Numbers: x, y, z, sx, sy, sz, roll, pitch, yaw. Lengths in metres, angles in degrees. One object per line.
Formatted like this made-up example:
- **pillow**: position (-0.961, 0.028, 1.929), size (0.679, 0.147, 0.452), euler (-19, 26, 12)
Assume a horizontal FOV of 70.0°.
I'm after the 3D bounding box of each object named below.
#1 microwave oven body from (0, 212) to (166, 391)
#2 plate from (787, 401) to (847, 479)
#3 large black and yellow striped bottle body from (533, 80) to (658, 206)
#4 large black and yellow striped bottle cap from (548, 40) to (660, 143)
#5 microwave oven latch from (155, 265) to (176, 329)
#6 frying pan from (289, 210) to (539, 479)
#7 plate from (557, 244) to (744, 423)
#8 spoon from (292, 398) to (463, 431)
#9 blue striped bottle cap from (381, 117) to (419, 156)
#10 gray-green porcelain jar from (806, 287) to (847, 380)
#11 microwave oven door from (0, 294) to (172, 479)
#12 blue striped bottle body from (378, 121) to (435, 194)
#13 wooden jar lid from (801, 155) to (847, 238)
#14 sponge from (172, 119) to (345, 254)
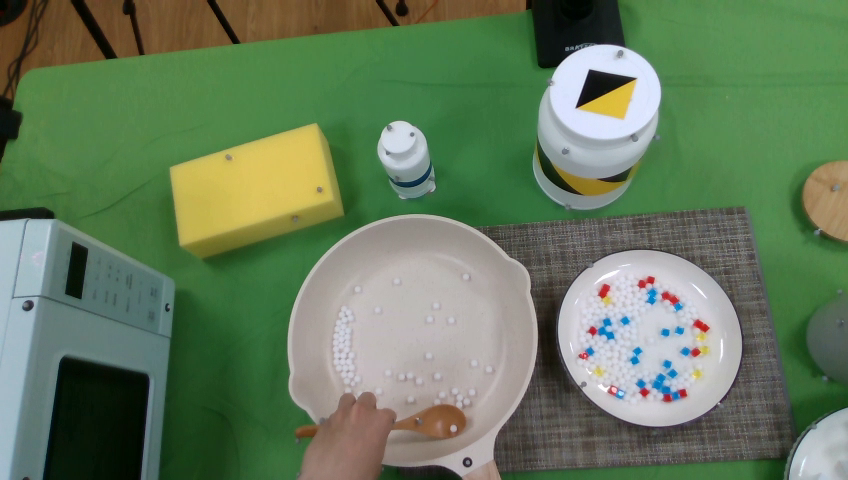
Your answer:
- **microwave oven body**: position (-0.491, 0.223, 0.650), size (0.326, 0.262, 0.439), euler (-4, 73, 5)
- **plate**: position (0.491, 0.272, 0.639), size (0.207, 0.039, 0.206), euler (-2, 72, 7)
- **large black and yellow striped bottle body**: position (0.200, -0.131, 0.722), size (0.130, 0.185, 0.130), euler (-2, 72, 6)
- **large black and yellow striped bottle cap**: position (0.190, -0.159, 0.643), size (0.115, 0.019, 0.114), euler (-2, 74, 6)
- **microwave oven latch**: position (-0.339, 0.074, 0.780), size (0.030, 0.030, 0.078), euler (-3, 73, 6)
- **frying pan**: position (0.031, 0.192, 0.680), size (0.307, 0.103, 0.483), euler (-27, 64, -1)
- **plate**: position (0.261, 0.107, 0.714), size (0.209, 0.038, 0.208), euler (-2, 73, 7)
- **spoon**: position (-0.048, 0.201, 0.678), size (0.195, 0.021, 0.042), euler (2, 106, -22)
- **blue striped bottle cap**: position (-0.029, -0.124, 0.725), size (0.044, 0.021, 0.044), euler (-3, 70, 8)
- **gray-green porcelain jar**: position (0.486, 0.096, 0.647), size (0.106, 0.127, 0.105), euler (-2, 72, 6)
- **microwave oven door**: position (-0.347, 0.252, 0.619), size (0.039, 0.245, 0.353), euler (-4, 72, 6)
- **blue striped bottle body**: position (-0.022, -0.109, 0.774), size (0.063, 0.121, 0.062), euler (-2, 72, 7)
- **wooden jar lid**: position (0.521, -0.051, 0.745), size (0.108, 0.021, 0.108), euler (-2, 74, 7)
- **sponge**: position (-0.223, -0.070, 0.818), size (0.207, 0.061, 0.117), euler (-17, 72, 1)
